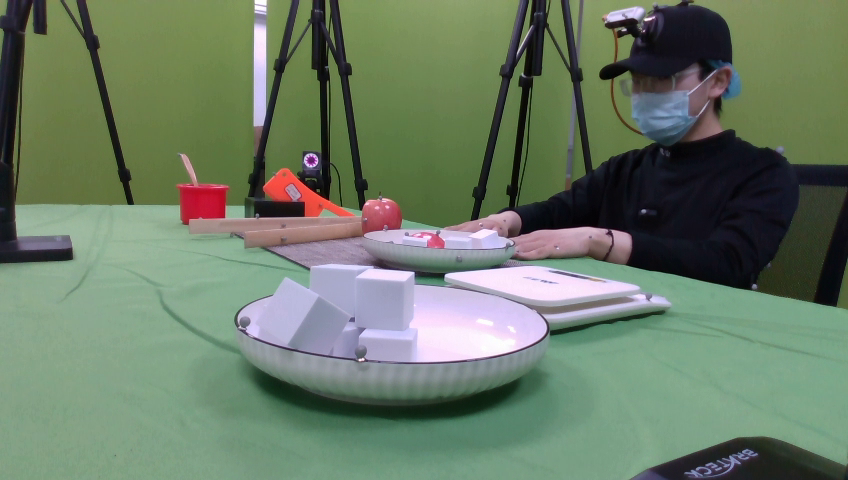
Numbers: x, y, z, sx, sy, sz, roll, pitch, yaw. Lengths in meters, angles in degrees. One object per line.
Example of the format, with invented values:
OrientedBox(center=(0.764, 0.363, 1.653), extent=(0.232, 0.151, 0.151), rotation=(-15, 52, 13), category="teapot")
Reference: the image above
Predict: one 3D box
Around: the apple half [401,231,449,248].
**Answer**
OrientedBox(center=(0.003, 0.005, 0.843), extent=(0.081, 0.033, 0.081), rotation=(1, 4, 0), category="apple half")

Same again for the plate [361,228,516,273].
OrientedBox(center=(0.019, 0.013, 0.818), extent=(0.209, 0.038, 0.209), rotation=(2, 7, 0), category="plate")

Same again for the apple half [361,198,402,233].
OrientedBox(center=(-0.066, -0.032, 1.014), extent=(0.053, 0.074, 0.081), rotation=(9, 6, 21), category="apple half")

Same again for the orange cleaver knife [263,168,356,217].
OrientedBox(center=(-0.241, -0.078, 1.296), extent=(0.212, 0.077, 0.012), rotation=(32, -11, -26), category="orange cleaver knife")

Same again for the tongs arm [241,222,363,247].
OrientedBox(center=(-0.159, -0.017, 1.034), extent=(0.028, 0.028, 0.389), rotation=(2, 6, 33), category="tongs arm")

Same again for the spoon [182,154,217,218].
OrientedBox(center=(-0.455, -0.107, 1.212), extent=(0.042, 0.021, 0.193), rotation=(-6, 55, -35), category="spoon")

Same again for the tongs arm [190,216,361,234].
OrientedBox(center=(-0.220, -0.028, 1.088), extent=(0.387, 0.026, 0.050), rotation=(-3, 8, -43), category="tongs arm")

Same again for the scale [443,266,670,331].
OrientedBox(center=(0.131, 0.052, 0.603), extent=(0.202, 0.031, 0.148), rotation=(-3, 9, -37), category="scale")

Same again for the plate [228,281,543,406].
OrientedBox(center=(-0.025, 0.067, 0.413), extent=(0.208, 0.039, 0.207), rotation=(3, 7, 0), category="plate")
